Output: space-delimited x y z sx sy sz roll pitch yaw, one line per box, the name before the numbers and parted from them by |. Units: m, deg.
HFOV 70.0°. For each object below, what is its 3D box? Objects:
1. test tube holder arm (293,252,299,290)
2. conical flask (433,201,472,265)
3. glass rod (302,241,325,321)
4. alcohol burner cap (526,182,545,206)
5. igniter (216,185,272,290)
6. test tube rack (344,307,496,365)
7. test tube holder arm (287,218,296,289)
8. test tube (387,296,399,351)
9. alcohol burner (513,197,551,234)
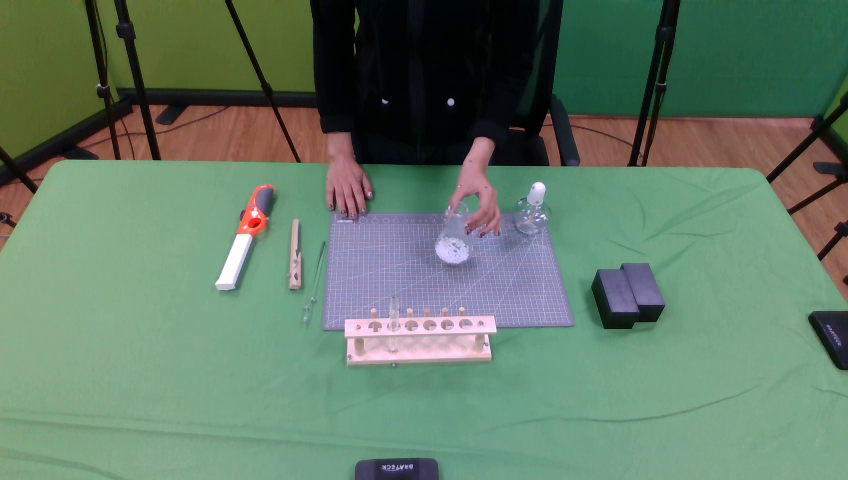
test tube holder arm | -0.241 0.056 1.131 0.010 0.015 0.087 25 35 -33
conical flask | 0.056 -0.017 1.111 0.075 0.122 0.075 2 49 -2
glass rod | -0.204 0.071 1.124 0.008 0.008 0.198 4 43 0
alcohol burner cap | 0.222 -0.093 1.189 0.034 0.048 0.033 2 54 -3
igniter | -0.347 -0.014 1.182 0.057 0.025 0.275 -1 45 8
test tube rack | -0.009 0.154 1.007 0.242 0.085 0.066 -1 46 -5
test tube holder arm | -0.253 0.022 1.158 0.013 0.015 0.177 24 36 -34
test tube | -0.049 0.134 0.953 0.017 0.151 0.017 2 51 -3
alcohol burner | 0.220 -0.069 1.217 0.078 0.119 0.077 3 47 -3
